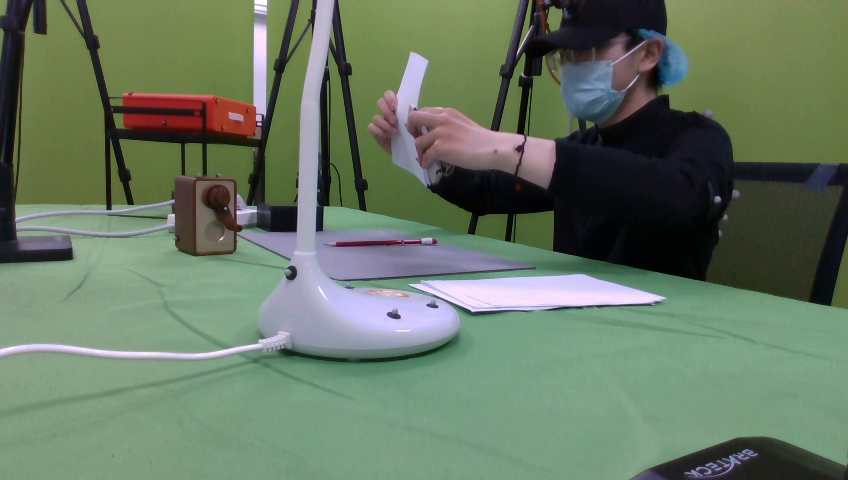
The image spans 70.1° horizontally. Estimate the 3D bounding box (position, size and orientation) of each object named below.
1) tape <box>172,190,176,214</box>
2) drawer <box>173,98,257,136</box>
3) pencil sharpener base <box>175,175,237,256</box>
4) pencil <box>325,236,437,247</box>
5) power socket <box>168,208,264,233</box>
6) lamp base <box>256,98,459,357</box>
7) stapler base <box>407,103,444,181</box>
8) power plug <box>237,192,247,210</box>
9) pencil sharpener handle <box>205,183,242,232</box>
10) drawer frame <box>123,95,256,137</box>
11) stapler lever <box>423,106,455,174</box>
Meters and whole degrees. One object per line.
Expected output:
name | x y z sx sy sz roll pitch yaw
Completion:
tape | -0.515 -0.087 1.388 0.117 0.052 0.117 3 7 0
drawer | -0.518 -0.279 1.376 0.211 0.073 0.195 3 8 10
pencil sharpener base | -0.304 -0.036 0.847 0.062 0.107 0.076 -4 10 -42
pencil | -0.066 0.003 0.979 0.195 0.012 0.012 -3 9 -25
power socket | -0.381 -0.038 1.129 0.072 0.032 0.227 4 8 17
lamp base | -0.055 -0.013 0.463 0.160 0.180 0.180 6 11 27
stapler base | 0.005 -0.153 0.918 0.024 0.130 0.041 -12 -28 -15
power plug | -0.386 -0.071 1.204 0.072 0.052 0.035 7 8 26
pencil sharpener handle | -0.265 -0.043 0.812 0.036 0.068 0.030 -32 28 -35
drawer frame | -0.524 -0.281 1.376 0.213 0.082 0.202 3 8 8
stapler lever | 0.029 -0.156 0.925 0.040 0.117 0.027 -12 -28 -15
